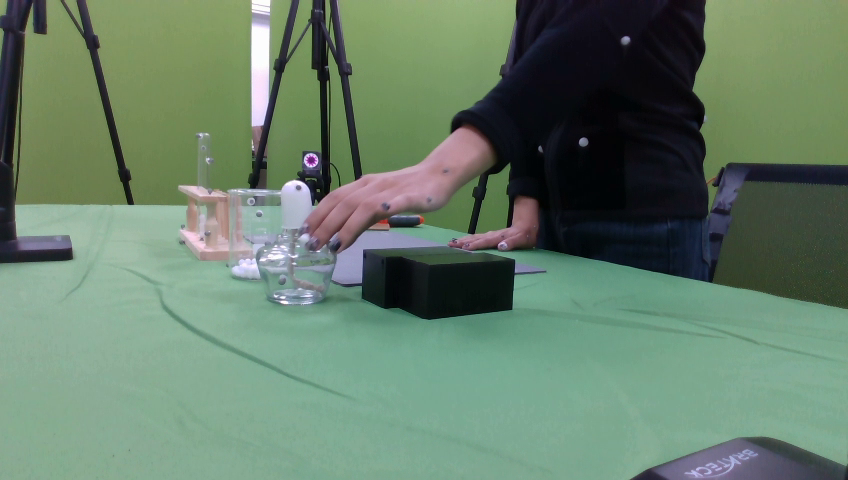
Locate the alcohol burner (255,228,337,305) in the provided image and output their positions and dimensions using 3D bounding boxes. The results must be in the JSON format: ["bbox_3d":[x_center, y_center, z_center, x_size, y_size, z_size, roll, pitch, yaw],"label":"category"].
[{"bbox_3d":[-0.124,0.002,0.585,0.078,0.119,0.078,0,7,0],"label":"alcohol burner"}]

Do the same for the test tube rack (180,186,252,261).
[{"bbox_3d":[-0.312,-0.031,0.893,0.067,0.085,0.241,-1,8,-27],"label":"test tube rack"}]

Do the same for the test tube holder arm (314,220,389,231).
[{"bbox_3d":[-0.153,-0.028,1.174,0.179,0.015,0.013,1,-26,-21],"label":"test tube holder arm"}]

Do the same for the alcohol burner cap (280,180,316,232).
[{"bbox_3d":[-0.122,-0.034,0.581,0.034,0.048,0.034,-3,12,1],"label":"alcohol burner cap"}]

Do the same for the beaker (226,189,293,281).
[{"bbox_3d":[-0.184,-0.007,0.694,0.084,0.100,0.073,-1,8,-29],"label":"beaker"}]

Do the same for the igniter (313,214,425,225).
[{"bbox_3d":[-0.129,-0.043,1.273,0.278,0.025,0.057,-1,-2,-26],"label":"igniter"}]

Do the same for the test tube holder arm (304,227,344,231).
[{"bbox_3d":[-0.197,-0.026,1.163,0.088,0.015,0.010,0,-26,-20],"label":"test tube holder arm"}]

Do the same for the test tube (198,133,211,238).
[{"bbox_3d":[-0.316,-0.078,0.871,0.017,0.150,0.017,2,3,0],"label":"test tube"}]
